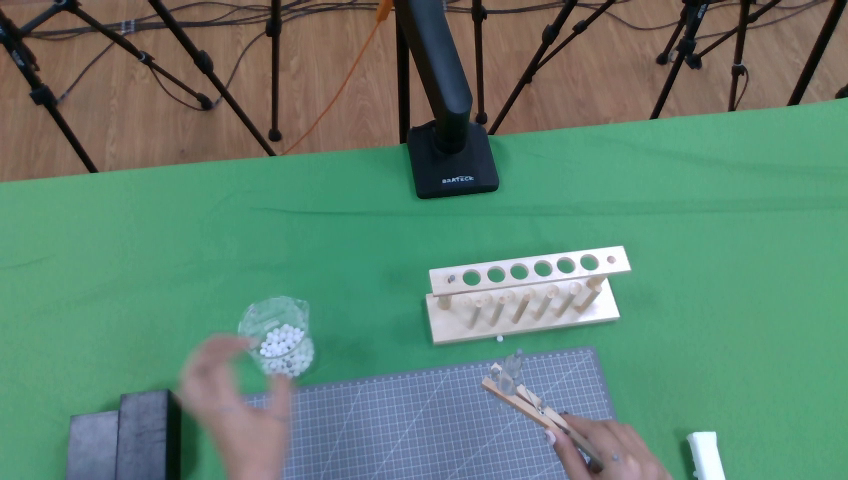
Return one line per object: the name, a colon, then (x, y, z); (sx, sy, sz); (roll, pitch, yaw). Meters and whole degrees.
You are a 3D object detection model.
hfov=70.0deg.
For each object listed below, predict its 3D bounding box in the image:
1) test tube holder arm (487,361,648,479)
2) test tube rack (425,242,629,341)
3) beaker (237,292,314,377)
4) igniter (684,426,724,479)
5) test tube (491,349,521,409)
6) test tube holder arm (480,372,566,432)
test tube holder arm: (0.131, 0.168, 0.545); (0.177, 0.015, 0.013); (35, 74, 12)
test tube rack: (0.127, 0.064, 0.752); (0.243, 0.086, 0.066); (-7, 63, -7)
beaker: (-0.165, 0.111, 0.701); (0.084, 0.101, 0.073); (-39, 71, -22)
igniter: (0.328, 0.342, 0.651); (0.057, 0.025, 0.274); (4, 62, -13)
test tube: (0.074, 0.131, 0.555); (0.017, 0.151, 0.017); (-1, 61, 2)
test tube holder arm: (0.091, 0.148, 0.552); (0.087, 0.015, 0.010); (29, 72, 10)
